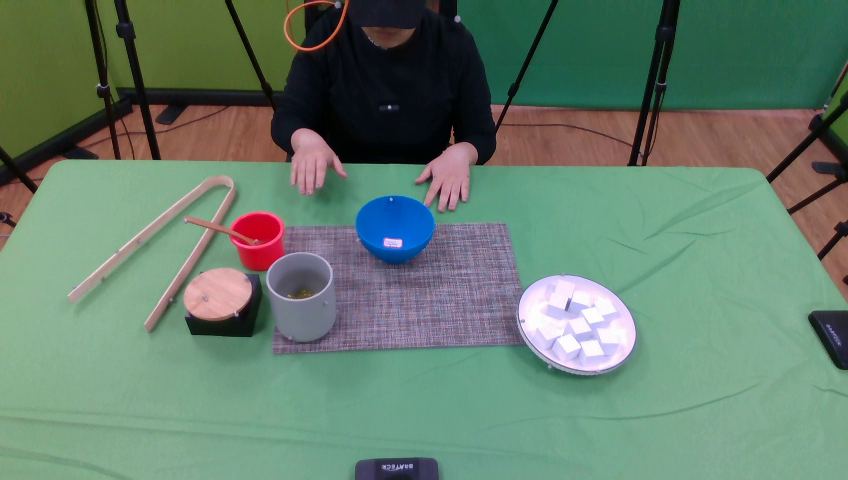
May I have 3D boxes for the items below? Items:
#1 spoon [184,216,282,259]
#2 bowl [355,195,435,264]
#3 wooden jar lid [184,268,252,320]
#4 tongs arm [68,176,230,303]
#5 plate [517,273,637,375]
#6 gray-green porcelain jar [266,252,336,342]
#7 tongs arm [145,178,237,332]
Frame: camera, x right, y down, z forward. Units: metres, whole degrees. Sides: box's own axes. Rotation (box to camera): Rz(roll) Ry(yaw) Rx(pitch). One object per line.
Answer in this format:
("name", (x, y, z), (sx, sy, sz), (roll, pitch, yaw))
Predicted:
("spoon", (-0.341, -0.008, 1.096), (0.195, 0.021, 0.041), (30, 35, -41))
("bowl", (-0.056, -0.008, 1.158), (0.151, 0.077, 0.150), (2, 46, -2))
("wooden jar lid", (-0.343, 0.092, 1.015), (0.108, 0.021, 0.107), (3, 46, -3))
("tongs arm", (-0.510, -0.011, 1.162), (0.050, 0.026, 0.383), (20, 47, 14))
("plate", (0.264, 0.149, 1.060), (0.209, 0.038, 0.208), (3, 46, -3))
("gray-green porcelain jar", (-0.202, 0.100, 1.009), (0.106, 0.127, 0.105), (2, 46, -2))
("tongs arm", (-0.432, 0.014, 1.149), (0.028, 0.028, 0.385), (8, 46, 7))
